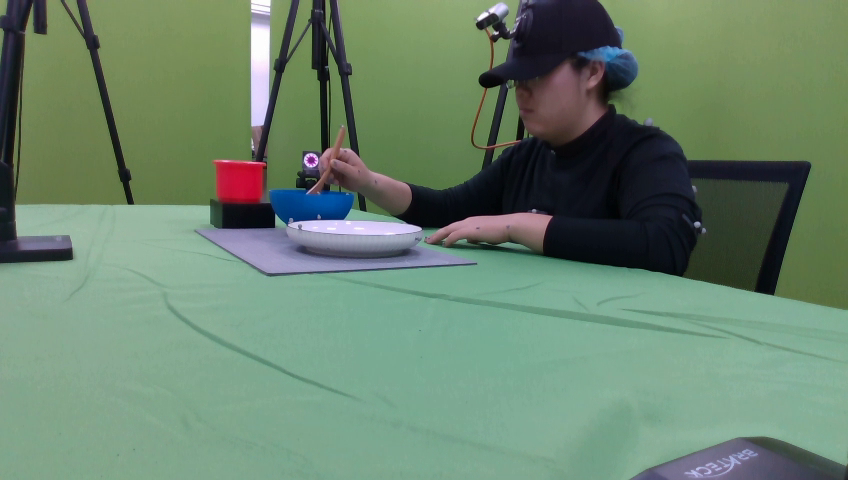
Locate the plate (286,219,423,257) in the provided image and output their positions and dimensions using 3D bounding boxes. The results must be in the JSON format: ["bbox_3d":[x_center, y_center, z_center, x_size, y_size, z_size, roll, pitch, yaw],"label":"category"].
[{"bbox_3d":[-0.105,-0.004,0.922,0.208,0.039,0.207,3,8,0],"label":"plate"}]

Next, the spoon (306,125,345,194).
[{"bbox_3d":[-0.183,-0.124,1.115,0.021,0.193,0.042,16,-11,44],"label":"spoon"}]

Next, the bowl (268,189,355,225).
[{"bbox_3d":[-0.201,-0.048,1.078,0.151,0.077,0.151,3,7,0],"label":"bowl"}]
